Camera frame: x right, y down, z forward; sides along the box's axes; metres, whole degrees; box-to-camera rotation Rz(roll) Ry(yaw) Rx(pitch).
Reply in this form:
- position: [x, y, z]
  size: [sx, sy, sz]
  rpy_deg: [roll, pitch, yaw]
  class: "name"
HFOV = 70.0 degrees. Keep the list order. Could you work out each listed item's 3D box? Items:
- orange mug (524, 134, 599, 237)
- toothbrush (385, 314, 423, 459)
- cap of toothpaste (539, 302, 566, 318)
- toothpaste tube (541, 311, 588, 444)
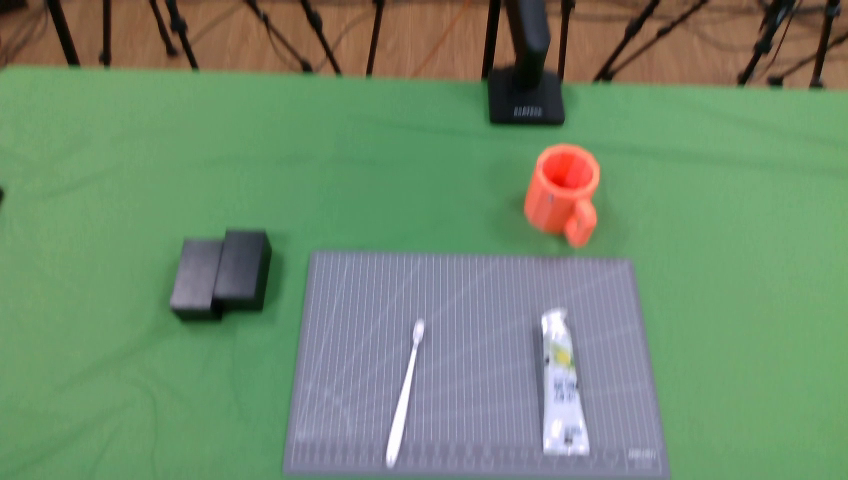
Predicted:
- position: [0.197, -0.071, 0.842]
  size: [0.083, 0.101, 0.125]
  rpy_deg: [-18, 59, -11]
  class: "orange mug"
- position: [-0.023, 0.174, 0.741]
  size: [0.014, 0.017, 0.180]
  rpy_deg: [17, 63, -8]
  class: "toothbrush"
- position: [0.167, 0.092, 0.782]
  size: [0.037, 0.037, 0.011]
  rpy_deg: [-9, 59, -8]
  class: "cap of toothpaste"
- position: [0.166, 0.166, 0.748]
  size: [0.055, 0.035, 0.164]
  rpy_deg: [-3, 65, 4]
  class: "toothpaste tube"
